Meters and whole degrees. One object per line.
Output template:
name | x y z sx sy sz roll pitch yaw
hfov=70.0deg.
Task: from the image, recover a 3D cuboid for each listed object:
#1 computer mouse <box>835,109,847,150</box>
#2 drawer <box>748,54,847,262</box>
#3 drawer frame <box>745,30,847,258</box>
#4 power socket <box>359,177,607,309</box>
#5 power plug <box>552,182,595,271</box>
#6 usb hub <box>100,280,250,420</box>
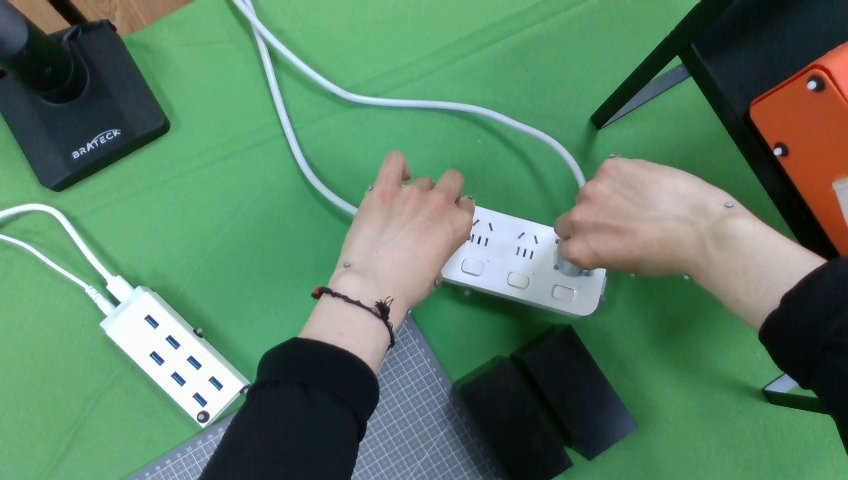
computer mouse | 0.318 -0.049 0.379 0.063 0.041 0.117 -35 85 -3
drawer | 0.344 -0.063 0.368 0.212 0.073 0.194 -31 86 -7
drawer frame | 0.347 -0.067 0.368 0.213 0.083 0.201 -32 86 -7
power socket | 0.056 0.003 0.545 0.227 0.032 0.072 15 82 -1
power plug | 0.138 -0.007 0.532 0.035 0.053 0.072 25 80 1
usb hub | -0.213 0.093 0.520 0.125 0.025 0.049 43 84 2
